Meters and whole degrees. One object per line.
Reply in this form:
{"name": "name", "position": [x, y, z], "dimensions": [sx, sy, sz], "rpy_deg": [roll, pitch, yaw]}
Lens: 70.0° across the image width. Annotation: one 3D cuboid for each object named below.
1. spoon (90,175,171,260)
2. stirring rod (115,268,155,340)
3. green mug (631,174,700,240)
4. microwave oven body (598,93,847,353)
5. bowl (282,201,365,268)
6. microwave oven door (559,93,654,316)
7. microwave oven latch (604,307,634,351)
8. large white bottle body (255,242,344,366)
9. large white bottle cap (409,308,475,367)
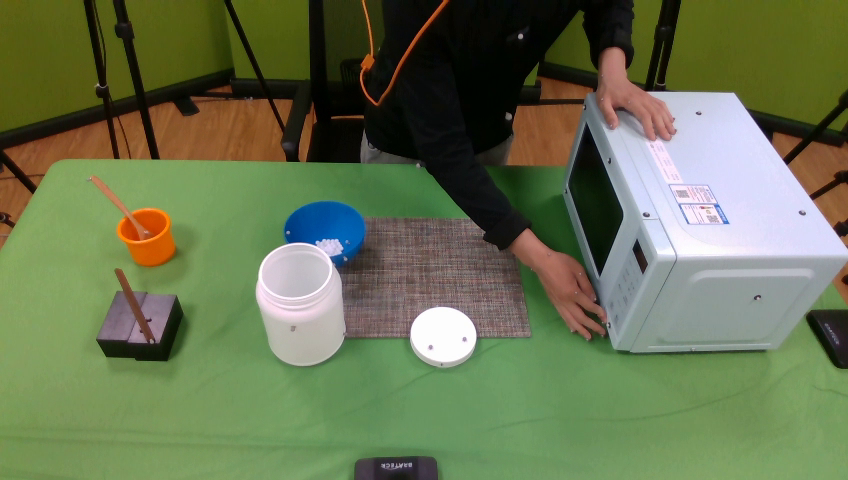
{"name": "spoon", "position": [-0.538, -0.042, 1.111], "dimensions": [0.021, 0.194, 0.041], "rpy_deg": [-14, 26, 51]}
{"name": "stirring rod", "position": [-0.478, 0.103, 0.999], "dimensions": [0.014, 0.006, 0.175], "rpy_deg": [7, 32, -49]}
{"name": "green mug", "position": [0.455, -0.059, 1.156], "dimensions": [0.125, 0.105, 0.092], "rpy_deg": [-13, 47, -11]}
{"name": "microwave oven body", "position": [0.476, -0.042, 1.110], "dimensions": [0.326, 0.261, 0.438], "rpy_deg": [-1, 45, -4]}
{"name": "bowl", "position": [-0.187, 0.005, 1.138], "dimensions": [0.151, 0.077, 0.150], "rpy_deg": [3, 46, -3]}
{"name": "microwave oven door", "position": [0.327, -0.074, 1.123], "dimensions": [0.039, 0.245, 0.353], "rpy_deg": [-1, 46, -5]}
{"name": "microwave oven latch", "position": [0.333, 0.153, 1.044], "dimensions": [0.030, 0.029, 0.078], "rpy_deg": [1, 45, -2]}
{"name": "large white bottle body", "position": [-0.196, 0.102, 0.967], "dimensions": [0.131, 0.185, 0.130], "rpy_deg": [2, 49, -2]}
{"name": "large white bottle cap", "position": [0.031, 0.166, 1.041], "dimensions": [0.115, 0.018, 0.114], "rpy_deg": [2, 46, -2]}
